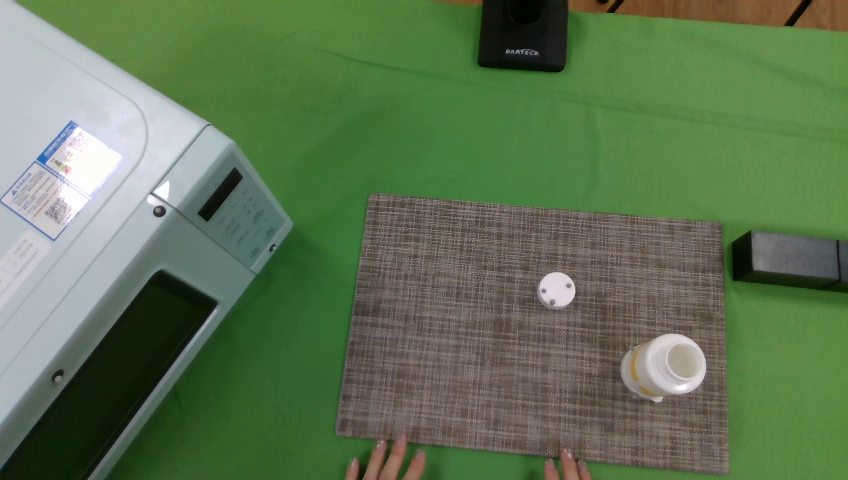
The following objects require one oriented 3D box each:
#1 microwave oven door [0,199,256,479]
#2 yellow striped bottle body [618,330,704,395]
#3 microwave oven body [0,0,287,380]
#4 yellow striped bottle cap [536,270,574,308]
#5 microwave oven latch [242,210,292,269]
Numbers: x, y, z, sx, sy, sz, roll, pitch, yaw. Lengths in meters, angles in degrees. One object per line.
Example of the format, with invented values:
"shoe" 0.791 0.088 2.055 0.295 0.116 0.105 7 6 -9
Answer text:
"microwave oven door" -0.317 0.142 0.591 0.039 0.245 0.355 31 77 10
"yellow striped bottle body" 0.259 0.134 0.660 0.063 0.121 0.062 0 73 1
"microwave oven body" -0.417 0.034 0.628 0.325 0.261 0.440 32 77 9
"yellow striped bottle cap" 0.160 0.059 0.739 0.044 0.019 0.044 -1 74 2
"microwave oven latch" -0.193 -0.005 0.737 0.030 0.029 0.079 34 78 10
